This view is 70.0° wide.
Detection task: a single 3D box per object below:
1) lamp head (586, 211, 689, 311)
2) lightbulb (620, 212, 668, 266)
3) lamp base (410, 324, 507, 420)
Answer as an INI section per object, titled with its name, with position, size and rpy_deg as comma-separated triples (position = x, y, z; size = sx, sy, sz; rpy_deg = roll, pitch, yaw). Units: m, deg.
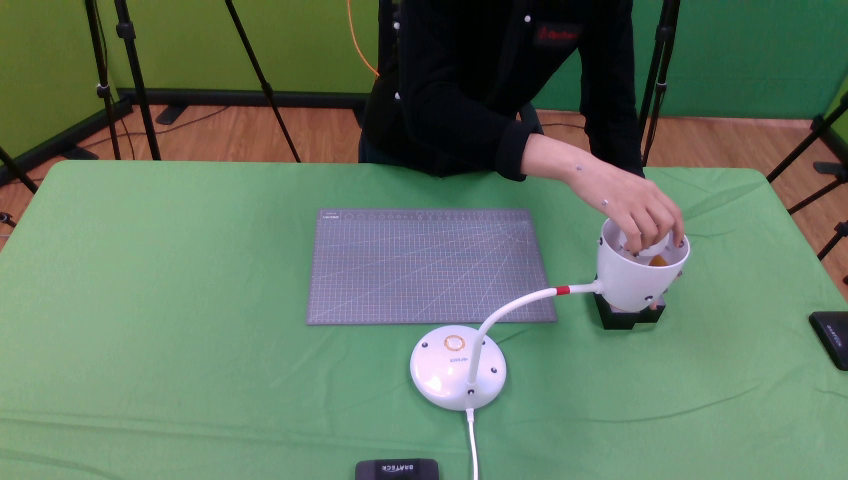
[lamp head]
position = 0.281, 0.039, 0.820
size = 0.112, 0.123, 0.111
rpy_deg = 6, 41, -5
[lightbulb]
position = 0.286, 0.012, 0.803
size = 0.059, 0.108, 0.059
rpy_deg = 0, 40, 0
[lamp base]
position = 0.064, 0.163, 0.937
size = 0.161, 0.181, 0.178
rpy_deg = -10, 51, -13
